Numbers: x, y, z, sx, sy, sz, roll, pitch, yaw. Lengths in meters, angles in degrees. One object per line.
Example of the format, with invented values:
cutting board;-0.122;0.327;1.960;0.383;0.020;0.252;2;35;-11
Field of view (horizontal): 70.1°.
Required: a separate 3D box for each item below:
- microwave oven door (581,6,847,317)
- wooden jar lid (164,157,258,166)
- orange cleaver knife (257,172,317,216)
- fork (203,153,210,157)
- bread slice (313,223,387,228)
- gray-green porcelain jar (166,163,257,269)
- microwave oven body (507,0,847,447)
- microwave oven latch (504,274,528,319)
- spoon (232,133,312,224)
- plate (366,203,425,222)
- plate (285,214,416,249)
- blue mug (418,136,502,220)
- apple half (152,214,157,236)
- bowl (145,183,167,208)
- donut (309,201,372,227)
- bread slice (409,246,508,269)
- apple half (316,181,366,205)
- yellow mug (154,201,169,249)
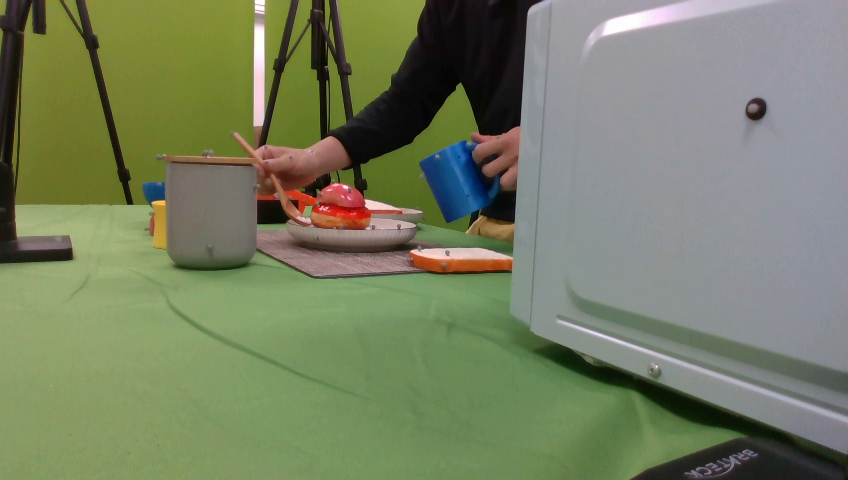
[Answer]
microwave oven door;0.295;-0.067;0.569;0.358;0.243;0.039;-3;8;-31
wooden jar lid;-0.261;-0.093;0.746;0.108;0.020;0.108;0;9;0
orange cleaver knife;-0.283;-0.087;1.343;0.212;0.077;0.012;24;-16;-41
fork;-0.480;-0.135;1.411;0.028;0.018;0.207;1;-34;0
bread slice;-0.121;-0.013;0.971;0.106;0.018;0.135;10;12;41
gray-green porcelain jar;-0.263;-0.031;0.754;0.106;0.126;0.106;2;7;0
microwave oven body;0.331;-0.042;0.425;0.444;0.260;0.324;-2;8;-31
microwave oven latch;0.100;0.041;0.471;0.079;0.029;0.030;-1;7;-28
spoon;-0.238;-0.096;0.941;0.021;0.193;0.042;-39;-9;16
plate;-0.102;-0.053;1.299;0.209;0.038;0.209;2;8;0
plate;-0.116;-0.014;0.967;0.208;0.039;0.207;2;8;0
blue mug;0.064;-0.100;0.920;0.116;0.106;0.082;-25;2;27
apple half;-0.415;-0.034;1.017;0.081;0.053;0.074;1;10;-8
bowl;-0.459;-0.069;1.175;0.151;0.077;0.151;3;7;0
donut;-0.132;-0.042;0.959;0.099;0.048;0.099;1;7;0
bread slice;0.048;0.021;0.816;0.132;0.019;0.104;0;7;-24
apple half;-0.128;-0.077;0.955;0.081;0.033;0.081;5;14;-1
yellow mug;-0.337;-0.023;0.899;0.130;0.064;0.100;8;10;34
